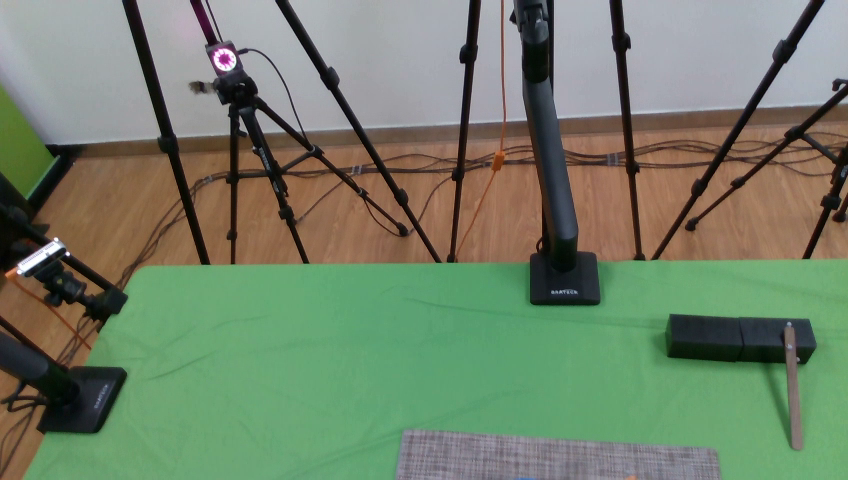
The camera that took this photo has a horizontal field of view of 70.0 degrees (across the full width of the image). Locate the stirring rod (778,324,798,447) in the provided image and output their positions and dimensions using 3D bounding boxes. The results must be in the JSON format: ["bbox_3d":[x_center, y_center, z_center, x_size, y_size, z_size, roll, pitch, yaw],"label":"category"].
[{"bbox_3d":[0.523,0.206,0.870,0.014,0.006,0.175,4,69,9],"label":"stirring rod"}]

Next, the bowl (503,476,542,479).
[{"bbox_3d":[0.128,0.387,0.765,0.151,0.077,0.150,-5,47,6],"label":"bowl"}]

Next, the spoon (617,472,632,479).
[{"bbox_3d":[0.182,0.351,0.741,0.194,0.022,0.041,-40,57,0],"label":"spoon"}]
